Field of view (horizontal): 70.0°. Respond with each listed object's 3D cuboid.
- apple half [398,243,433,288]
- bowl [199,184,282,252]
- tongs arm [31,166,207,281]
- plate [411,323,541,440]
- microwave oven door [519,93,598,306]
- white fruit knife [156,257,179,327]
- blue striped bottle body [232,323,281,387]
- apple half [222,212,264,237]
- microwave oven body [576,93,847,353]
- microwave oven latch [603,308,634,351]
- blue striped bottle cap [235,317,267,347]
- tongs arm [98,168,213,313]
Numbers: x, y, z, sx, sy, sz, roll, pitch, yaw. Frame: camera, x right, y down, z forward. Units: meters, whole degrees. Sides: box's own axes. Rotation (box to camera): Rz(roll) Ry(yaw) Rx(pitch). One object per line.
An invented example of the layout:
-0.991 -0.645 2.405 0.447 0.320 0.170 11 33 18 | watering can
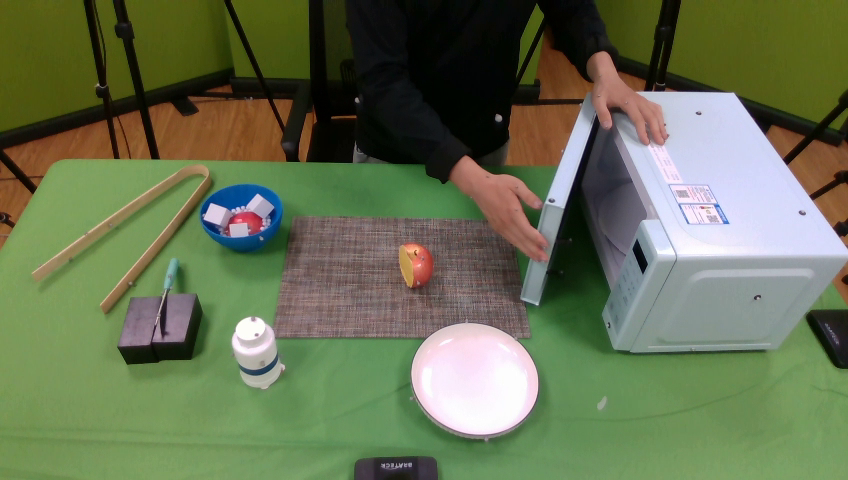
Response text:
-0.012 0.046 1.115 0.053 0.075 0.080 -11 44 -20 | apple half
-0.346 -0.030 1.164 0.151 0.077 0.150 3 46 -3 | bowl
-0.578 -0.040 1.184 0.050 0.026 0.384 23 48 17 | tongs arm
0.082 0.228 0.976 0.208 0.039 0.206 2 45 -2 | plate
0.257 -0.085 1.128 0.039 0.245 0.354 17 47 12 | microwave oven door
-0.440 0.085 1.037 0.016 0.027 0.206 10 26 -19 | white fruit knife
-0.262 0.172 0.944 0.063 0.121 0.062 2 46 -2 | blue striped bottle body
-0.346 -0.033 1.161 0.081 0.033 0.081 3 47 -3 | apple half
0.476 -0.042 1.110 0.326 0.261 0.438 -1 45 -4 | microwave oven body
0.333 0.153 1.044 0.030 0.029 0.078 0 45 -3 | microwave oven latch
-0.259 0.137 0.907 0.044 0.021 0.044 3 43 -2 | blue striped bottle cap
-0.503 -0.012 1.167 0.028 0.028 0.385 11 46 11 | tongs arm
